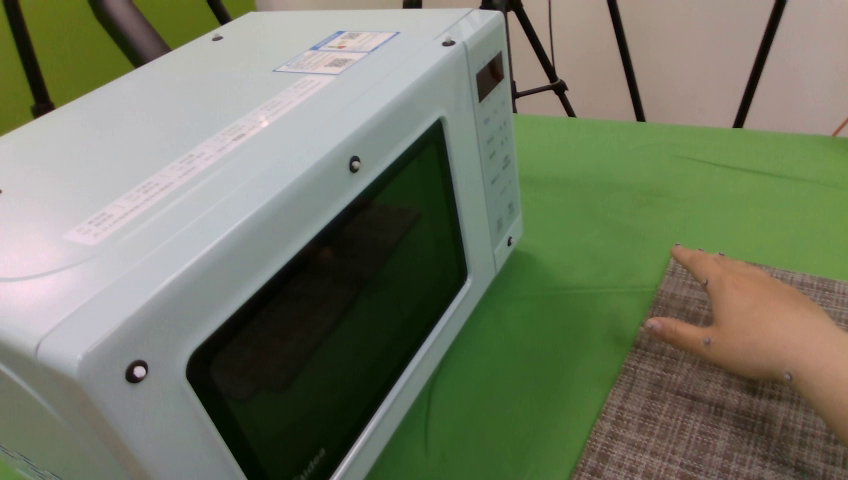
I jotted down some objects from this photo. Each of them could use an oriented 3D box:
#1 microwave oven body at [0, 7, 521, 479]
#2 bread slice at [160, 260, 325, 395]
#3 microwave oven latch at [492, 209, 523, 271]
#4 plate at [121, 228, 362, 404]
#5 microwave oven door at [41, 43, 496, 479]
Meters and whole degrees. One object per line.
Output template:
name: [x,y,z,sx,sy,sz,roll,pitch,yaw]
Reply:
microwave oven body: [-0.151,-0.001,0.528,0.324,0.263,0.440,11,42,28]
bread slice: [-0.156,0.066,0.536,0.104,0.019,0.131,20,50,35]
microwave oven latch: [0.079,-0.002,0.632,0.030,0.030,0.079,12,42,29]
plate: [-0.153,0.063,0.531,0.209,0.038,0.207,-8,35,6]
microwave oven door: [-0.046,0.042,0.428,0.039,0.246,0.354,11,41,29]
